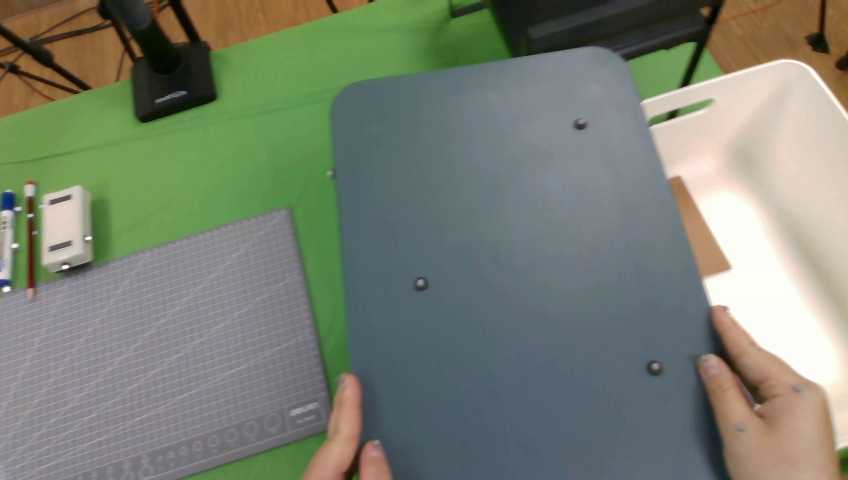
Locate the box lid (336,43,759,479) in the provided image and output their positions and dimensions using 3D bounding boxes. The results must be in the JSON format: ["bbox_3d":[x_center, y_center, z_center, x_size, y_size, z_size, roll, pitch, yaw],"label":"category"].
[{"bbox_3d":[0.071,0.006,0.461,0.263,0.015,0.368,-8,66,0],"label":"box lid"}]

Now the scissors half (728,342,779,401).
[{"bbox_3d":[0.320,0.098,0.662,0.040,0.013,0.173,-27,61,-15],"label":"scissors half"}]

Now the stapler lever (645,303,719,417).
[{"bbox_3d":[0.266,0.120,0.624,0.027,0.040,0.117,-22,69,0],"label":"stapler lever"}]

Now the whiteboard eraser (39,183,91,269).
[{"bbox_3d":[-0.471,-0.018,0.798,0.055,0.042,0.111,-19,65,-1],"label":"whiteboard eraser"}]

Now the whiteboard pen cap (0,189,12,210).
[{"bbox_3d":[-0.582,-0.054,0.840,0.018,0.018,0.033,-19,63,-2],"label":"whiteboard pen cap"}]

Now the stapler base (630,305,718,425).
[{"bbox_3d":[0.267,0.129,0.648,0.041,0.024,0.129,-22,68,0],"label":"stapler base"}]

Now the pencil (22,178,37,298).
[{"bbox_3d":[-0.531,-0.006,0.816,0.012,0.012,0.192,-20,64,-3],"label":"pencil"}]

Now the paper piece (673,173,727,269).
[{"bbox_3d":[0.264,-0.012,0.718,0.135,0.004,0.134,-16,63,-3],"label":"paper piece"}]

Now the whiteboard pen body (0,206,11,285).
[{"bbox_3d":[-0.567,-0.003,0.816,0.017,0.017,0.139,-17,64,-1],"label":"whiteboard pen body"}]

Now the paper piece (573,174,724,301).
[{"bbox_3d":[0.267,-0.006,0.738,0.136,0.009,0.137,-23,56,13],"label":"paper piece"}]

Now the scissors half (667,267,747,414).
[{"bbox_3d":[0.300,0.104,0.660,0.040,0.013,0.173,-11,59,1],"label":"scissors half"}]

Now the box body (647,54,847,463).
[{"bbox_3d":[0.325,0.023,0.619,0.254,0.162,0.360,-18,64,-2],"label":"box body"}]
